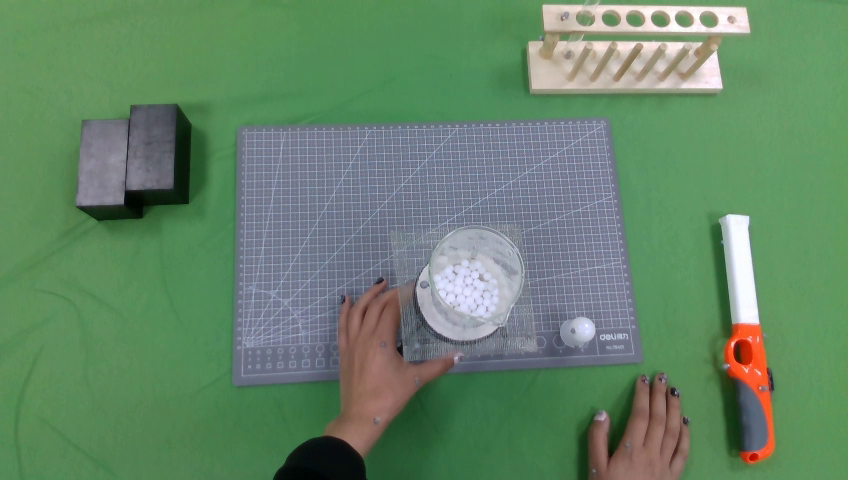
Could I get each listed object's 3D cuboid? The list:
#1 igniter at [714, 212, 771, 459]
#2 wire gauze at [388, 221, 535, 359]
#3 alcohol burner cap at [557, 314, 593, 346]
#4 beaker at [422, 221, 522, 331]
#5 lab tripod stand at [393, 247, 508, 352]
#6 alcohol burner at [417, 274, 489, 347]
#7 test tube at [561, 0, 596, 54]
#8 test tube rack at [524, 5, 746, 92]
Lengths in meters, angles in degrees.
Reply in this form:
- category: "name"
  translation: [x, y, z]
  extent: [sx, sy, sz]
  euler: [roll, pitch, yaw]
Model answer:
- category: "igniter"
  translation: [0.360, 0.103, 0.686]
  extent: [0.057, 0.025, 0.275]
  euler: [4, 76, -13]
- category: "wire gauze"
  translation: [0.033, 0.044, 0.553]
  extent: [0.125, 0.011, 0.120]
  euler: [-5, 74, -2]
- category: "alcohol burner cap"
  translation: [0.168, 0.098, 0.664]
  extent: [0.034, 0.048, 0.033]
  euler: [1, 74, -2]
- category: "beaker"
  translation: [0.037, 0.038, 0.505]
  extent: [0.074, 0.100, 0.083]
  euler: [-25, 77, -9]
- category: "lab tripod stand"
  translation: [0.028, 0.063, 0.616]
  extent: [0.148, 0.132, 0.147]
  euler: [1, 75, -2]
- category: "alcohol burner"
  translation: [0.031, 0.070, 0.625]
  extent: [0.078, 0.119, 0.077]
  euler: [1, 74, -4]
- category: "test tube"
  translation: [0.181, -0.260, 0.683]
  extent: [0.017, 0.151, 0.017]
  euler: [1, 71, -3]
- category: "test tube rack"
  translation: [0.250, -0.229, 0.732]
  extent: [0.242, 0.085, 0.066]
  euler: [-1, 76, -4]
